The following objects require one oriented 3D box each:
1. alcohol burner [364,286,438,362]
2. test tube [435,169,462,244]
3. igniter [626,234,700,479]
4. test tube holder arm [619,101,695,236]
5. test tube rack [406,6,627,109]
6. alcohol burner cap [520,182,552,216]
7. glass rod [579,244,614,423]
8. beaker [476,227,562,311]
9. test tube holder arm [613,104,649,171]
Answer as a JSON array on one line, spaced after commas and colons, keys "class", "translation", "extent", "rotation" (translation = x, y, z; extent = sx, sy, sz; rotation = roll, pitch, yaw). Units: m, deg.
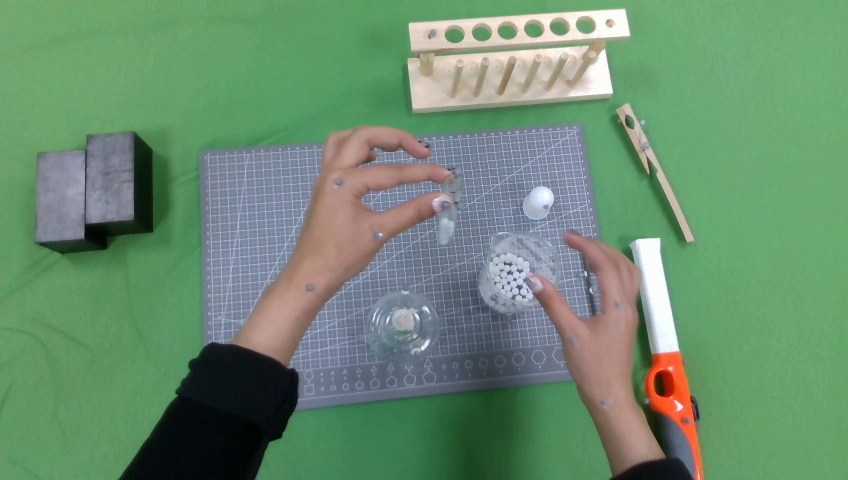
[{"class": "alcohol burner", "translation": [-0.023, 0.082, 0.611], "extent": [0.078, 0.119, 0.077], "rotation": [1, 75, -2]}, {"class": "test tube", "translation": [0.019, -0.023, 0.510], "extent": [0.017, 0.151, 0.017], "rotation": [0, 74, -1]}, {"class": "igniter", "translation": [0.261, 0.129, 0.663], "extent": [0.057, 0.025, 0.275], "rotation": [-3, 78, -14]}, {"class": "test tube holder arm", "translation": [0.274, -0.085, 0.714], "extent": [0.013, 0.015, 0.177], "rotation": [-30, 79, 26]}, {"class": "test tube rack", "translation": [0.103, -0.208, 0.700], "extent": [0.242, 0.085, 0.066], "rotation": [-5, 77, -4]}, {"class": "alcohol burner cap", "translation": [0.129, -0.049, 0.685], "extent": [0.034, 0.048, 0.033], "rotation": [1, 78, -2]}, {"class": "glass rod", "translation": [0.190, 0.101, 0.672], "extent": [0.008, 0.008, 0.198], "rotation": [-5, 78, -5]}, {"class": "beaker", "translation": [0.092, 0.033, 0.635], "extent": [0.074, 0.100, 0.083], "rotation": [-38, 80, -11]}, {"class": "test tube holder arm", "translation": [0.251, -0.123, 0.724], "extent": [0.010, 0.015, 0.087], "rotation": [-30, 79, 26]}]
